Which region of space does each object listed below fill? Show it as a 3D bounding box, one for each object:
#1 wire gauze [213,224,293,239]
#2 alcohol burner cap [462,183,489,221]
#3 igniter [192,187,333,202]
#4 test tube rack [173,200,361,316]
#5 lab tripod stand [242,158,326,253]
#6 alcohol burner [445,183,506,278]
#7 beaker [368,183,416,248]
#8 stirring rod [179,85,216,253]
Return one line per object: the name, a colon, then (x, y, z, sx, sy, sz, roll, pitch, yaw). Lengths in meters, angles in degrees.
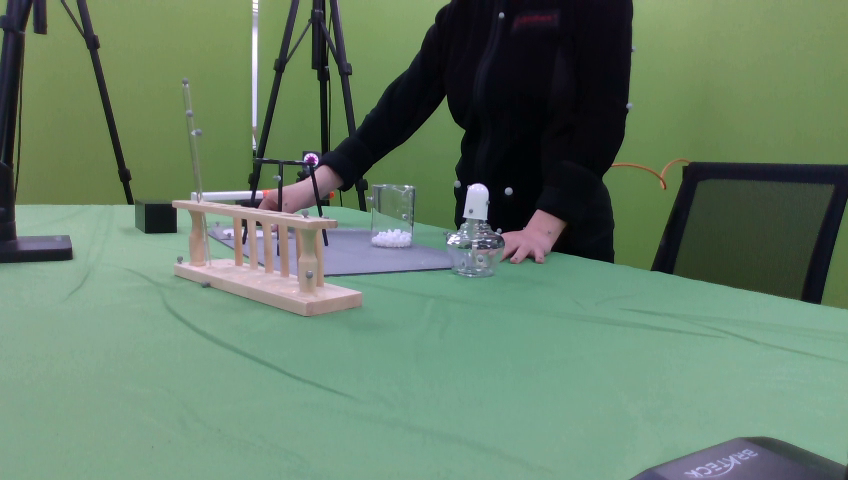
wire gauze: (-0.298, -0.013, 1.039, 0.122, 0.011, 0.124, 3, 8, -28)
alcohol burner cap: (0.067, -0.048, 0.765, 0.034, 0.048, 0.034, 5, 5, 0)
igniter: (-0.316, -0.090, 1.213, 0.278, 0.025, 0.057, -5, 12, -31)
test tube rack: (-0.169, 0.009, 0.622, 0.241, 0.085, 0.067, 9, 10, 41)
lab tripod stand: (-0.207, -0.054, 0.895, 0.148, 0.131, 0.148, 2, 5, 0)
alcohol burner: (0.065, -0.013, 0.770, 0.078, 0.119, 0.078, 0, 7, 0)
beaker: (-0.051, -0.039, 0.971, 0.074, 0.100, 0.083, -1, 9, -25)
stirring rod: (-0.237, -0.073, 0.634, 0.006, 0.176, 0.014, 1, 10, 42)
